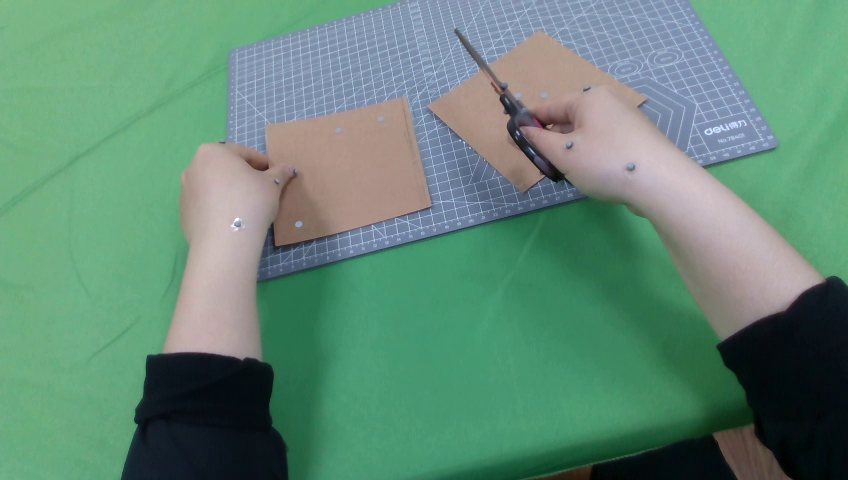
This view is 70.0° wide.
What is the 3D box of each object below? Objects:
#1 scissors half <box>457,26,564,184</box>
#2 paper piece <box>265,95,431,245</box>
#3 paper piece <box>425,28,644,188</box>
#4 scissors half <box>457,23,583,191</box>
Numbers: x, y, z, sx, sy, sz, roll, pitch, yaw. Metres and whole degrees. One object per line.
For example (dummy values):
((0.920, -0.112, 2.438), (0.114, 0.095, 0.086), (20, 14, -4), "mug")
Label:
((0.057, -0.109, 0.448), (0.013, 0.040, 0.173), (-40, 52, 23), "scissors half")
((-0.072, -0.067, 0.531), (0.138, 0.009, 0.134), (-15, 53, 3), "paper piece")
((0.092, -0.121, 0.527), (0.135, 0.004, 0.134), (-36, 58, -9), "paper piece")
((0.069, -0.106, 0.463), (0.013, 0.040, 0.174), (-42, 69, 28), "scissors half")
